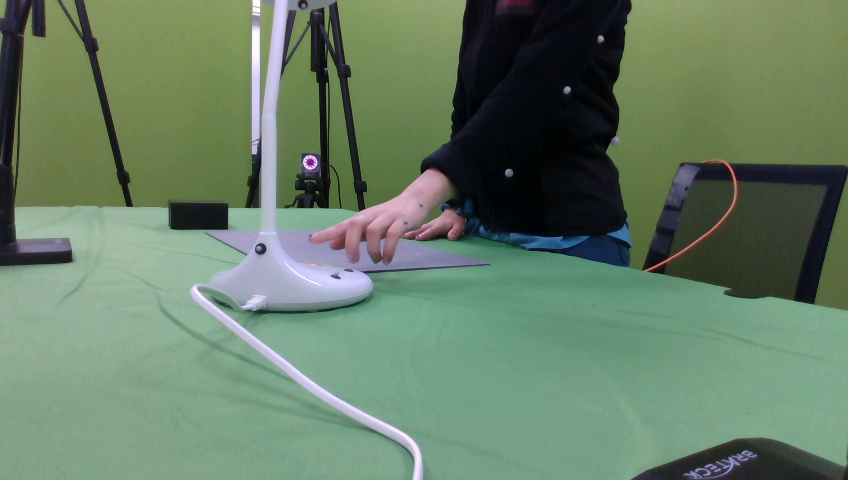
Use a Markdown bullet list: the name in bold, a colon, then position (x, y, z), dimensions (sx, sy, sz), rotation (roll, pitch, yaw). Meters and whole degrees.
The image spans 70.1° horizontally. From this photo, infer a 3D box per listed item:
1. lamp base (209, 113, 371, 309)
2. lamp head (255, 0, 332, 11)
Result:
- **lamp base**: position (-0.133, -0.032, 0.594), dimensions (0.160, 0.180, 0.179), rotation (2, 10, 3)
- **lamp head**: position (-0.141, -0.318, 0.629), dimensions (0.113, 0.112, 0.123), rotation (1, -32, -9)
